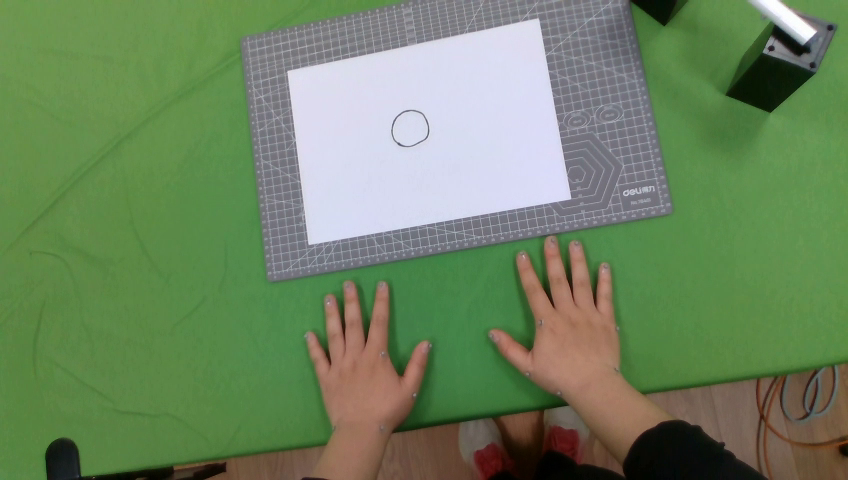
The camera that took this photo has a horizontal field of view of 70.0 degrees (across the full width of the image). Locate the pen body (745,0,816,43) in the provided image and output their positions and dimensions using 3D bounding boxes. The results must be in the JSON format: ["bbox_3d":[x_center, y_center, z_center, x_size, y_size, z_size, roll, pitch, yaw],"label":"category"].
[{"bbox_3d":[0.293,-0.230,0.552,0.017,0.017,0.143,-45,79,0],"label":"pen body"}]
